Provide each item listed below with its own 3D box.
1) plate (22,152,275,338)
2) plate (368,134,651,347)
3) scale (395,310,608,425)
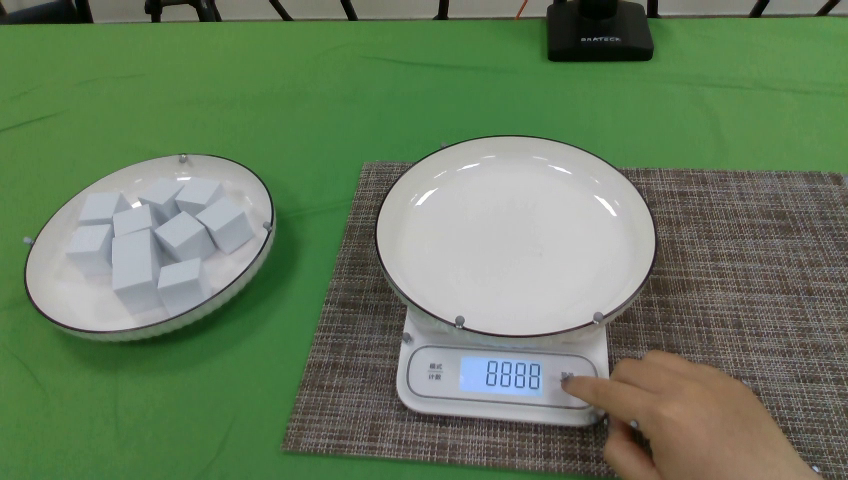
[{"bbox_3d":[-0.232,0.003,0.531,0.209,0.038,0.207,-2,47,3],"label":"plate"},{"bbox_3d":[0.063,-0.002,0.465,0.207,0.039,0.205,-2,48,2],"label":"plate"},{"bbox_3d":[0.063,0.041,0.470,0.148,0.032,0.199,3,49,8],"label":"scale"}]
